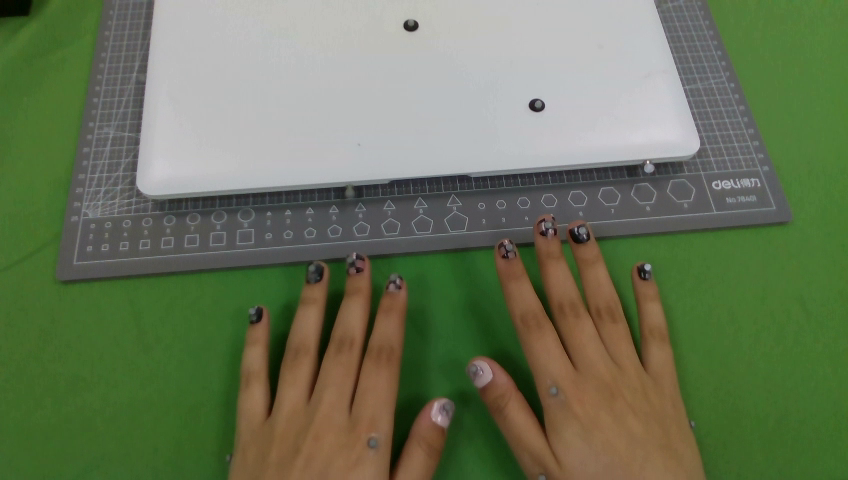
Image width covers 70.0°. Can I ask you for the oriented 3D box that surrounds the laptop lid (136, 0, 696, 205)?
[{"bbox_3d":[-0.010,-0.141,0.417,0.357,0.013,0.239,-4,67,-4],"label":"laptop lid"}]

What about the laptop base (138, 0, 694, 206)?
[{"bbox_3d":[-0.010,-0.138,0.429,0.355,0.023,0.233,-5,68,-5],"label":"laptop base"}]
